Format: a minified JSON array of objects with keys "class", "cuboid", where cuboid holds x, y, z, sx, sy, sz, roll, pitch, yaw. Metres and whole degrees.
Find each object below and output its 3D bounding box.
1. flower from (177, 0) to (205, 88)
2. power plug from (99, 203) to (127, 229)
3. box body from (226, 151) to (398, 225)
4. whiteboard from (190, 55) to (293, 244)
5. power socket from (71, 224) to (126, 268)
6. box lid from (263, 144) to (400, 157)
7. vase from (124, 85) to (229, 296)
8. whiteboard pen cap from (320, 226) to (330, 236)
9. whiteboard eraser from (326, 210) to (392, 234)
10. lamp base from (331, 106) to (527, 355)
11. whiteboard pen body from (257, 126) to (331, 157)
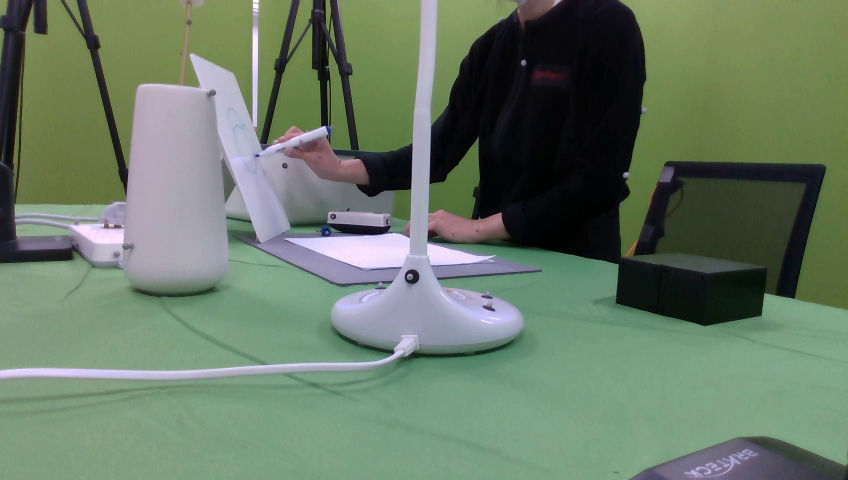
[{"class":"flower","cuboid":[-0.243,-0.131,0.609,0.044,0.361,0.038,-5,-12,11]},{"class":"power plug","cuboid":[-0.415,-0.026,0.848,0.073,0.052,0.035,6,5,-28]},{"class":"box body","cuboid":[-0.265,-0.129,1.380,0.253,0.160,0.366,8,9,39]},{"class":"whiteboard","cuboid":[-0.362,-0.129,1.029,0.144,0.305,0.217,-18,7,3]},{"class":"power socket","cuboid":[-0.409,0.004,0.793,0.072,0.032,0.225,-2,8,-37]},{"class":"box lid","cuboid":[-0.263,-0.203,1.369,0.262,0.015,0.373,9,10,39]},{"class":"vase","cuboid":[-0.244,-0.047,0.598,0.098,0.200,0.098,3,8,0]},{"class":"whiteboard pen cap","cuboid":[-0.176,-0.016,1.075,0.018,0.018,0.033,1,5,-14]},{"class":"whiteboard eraser","cuboid":[-0.121,-0.033,1.131,0.112,0.042,0.056,4,8,13]},{"class":"lamp base","cuboid":[0.006,-0.012,0.478,0.161,0.180,0.179,2,10,2]},{"class":"whiteboard pen body","cuboid":[-0.232,-0.172,1.071,0.141,0.017,0.017,-21,9,-3]}]
